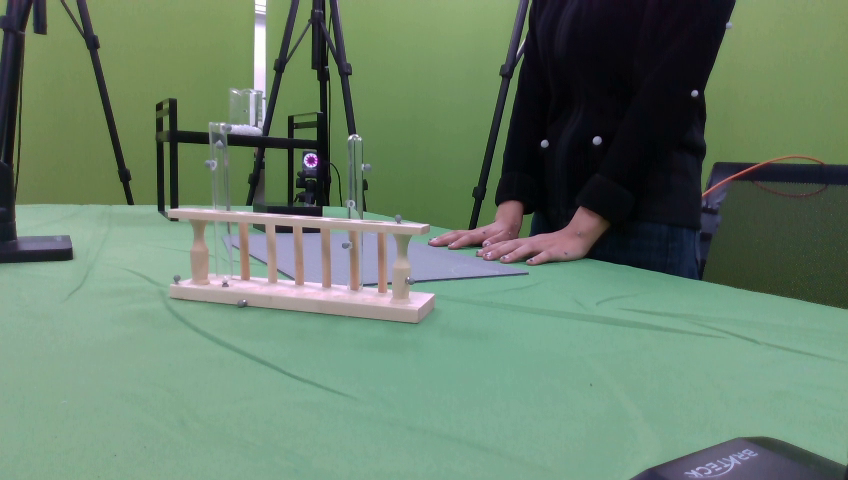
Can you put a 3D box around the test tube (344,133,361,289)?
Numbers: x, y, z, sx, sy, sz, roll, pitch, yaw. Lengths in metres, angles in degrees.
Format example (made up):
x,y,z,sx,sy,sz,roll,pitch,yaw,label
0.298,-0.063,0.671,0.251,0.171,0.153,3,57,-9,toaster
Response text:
x,y,z,sx,sy,sz,roll,pitch,yaw,label
-0.068,-0.025,0.575,0.017,0.150,0.017,1,11,0,test tube

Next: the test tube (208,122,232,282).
x,y,z,sx,sy,sz,roll,pitch,yaw,label
-0.191,-0.034,0.565,0.017,0.150,0.017,1,11,0,test tube

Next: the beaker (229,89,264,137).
x,y,z,sx,sy,sz,roll,pitch,yaw,label
-0.391,-0.277,1.329,0.074,0.100,0.084,2,8,-1,beaker

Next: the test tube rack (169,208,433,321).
x,y,z,sx,sy,sz,roll,pitch,yaw,label
-0.115,0.018,0.574,0.242,0.085,0.067,4,8,13,test tube rack
